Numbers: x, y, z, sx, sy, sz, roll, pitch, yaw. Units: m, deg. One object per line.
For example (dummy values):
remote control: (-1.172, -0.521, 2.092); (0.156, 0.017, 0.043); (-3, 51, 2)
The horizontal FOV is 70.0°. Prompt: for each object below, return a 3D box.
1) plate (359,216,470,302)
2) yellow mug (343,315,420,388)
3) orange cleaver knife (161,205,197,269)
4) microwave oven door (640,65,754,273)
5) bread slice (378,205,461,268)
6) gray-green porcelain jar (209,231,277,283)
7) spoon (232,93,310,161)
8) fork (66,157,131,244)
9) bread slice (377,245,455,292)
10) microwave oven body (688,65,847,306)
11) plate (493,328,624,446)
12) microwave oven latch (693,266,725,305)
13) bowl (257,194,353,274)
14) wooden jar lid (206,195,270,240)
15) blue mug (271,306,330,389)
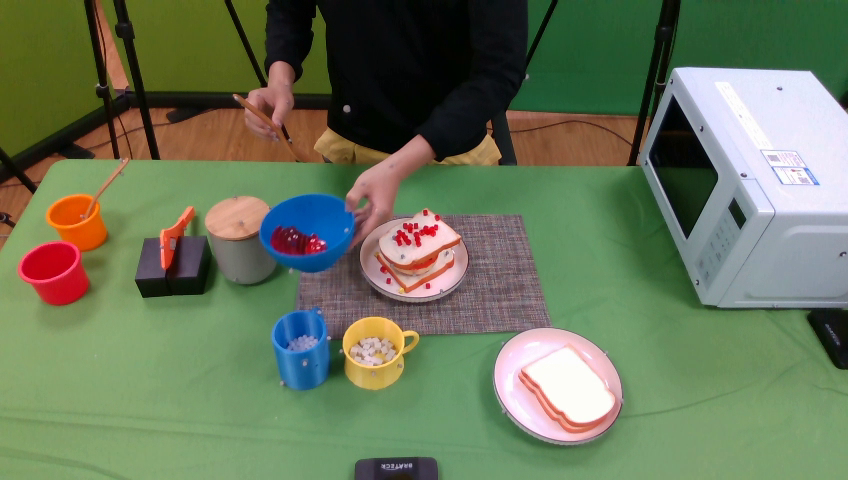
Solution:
plate: (-0.019, 0.038, 1.140); (0.209, 0.038, 0.208); (2, 46, -2)
yellow mug: (-0.068, 0.177, 0.990); (0.131, 0.064, 0.099); (-15, 50, -20)
orange cleaver knife: (-0.454, -0.010, 1.129); (0.012, 0.077, 0.210); (-1, 20, -5)
microwave oven door: (0.522, -0.147, 1.193); (0.039, 0.245, 0.353); (0, 47, -3)
bread slice: (-0.014, -0.002, 1.097); (0.134, 0.018, 0.106); (-34, 50, -23)
gray-green porcelain jar: (-0.323, 0.007, 1.092); (0.106, 0.127, 0.105); (2, 46, -2)
spoon: (-0.265, -0.197, 1.061); (0.021, 0.195, 0.041); (-30, 51, 10)
fork: (-0.608, -0.074, 1.132); (0.207, 0.019, 0.028); (-52, 48, 10)
bread slice: (-0.010, 0.034, 1.149); (0.131, 0.019, 0.104); (-29, 56, -24)
microwave oven body: (0.669, -0.111, 1.176); (0.326, 0.261, 0.439); (0, 46, -3)
plate: (0.213, 0.236, 0.974); (0.208, 0.039, 0.206); (2, 46, -2)
microwave oven latch: (0.523, 0.082, 1.115); (0.030, 0.029, 0.078); (3, 46, 0)
bowl: (-0.185, 0.002, 0.980); (0.151, 0.077, 0.150); (-2, 44, 2)
wooden jar lid: (-0.319, -0.036, 1.046); (0.108, 0.021, 0.107); (1, 44, 0)
blue mug: (-0.188, 0.163, 0.969); (0.082, 0.106, 0.116); (15, 47, 10)
